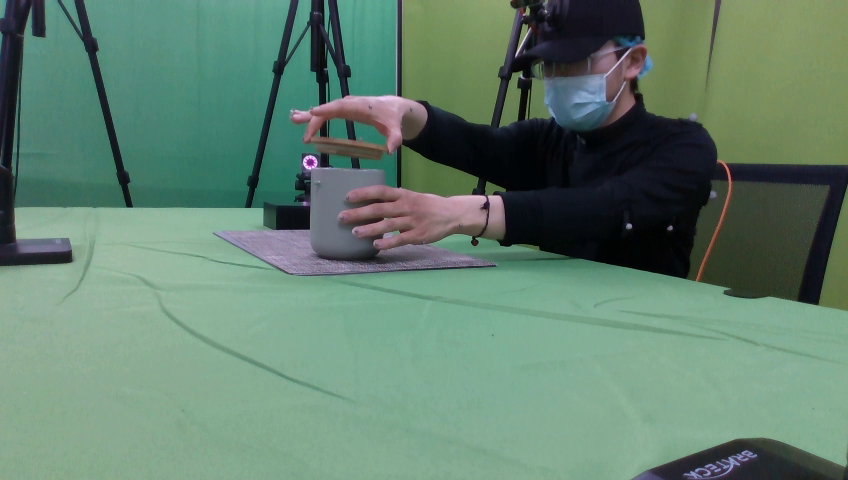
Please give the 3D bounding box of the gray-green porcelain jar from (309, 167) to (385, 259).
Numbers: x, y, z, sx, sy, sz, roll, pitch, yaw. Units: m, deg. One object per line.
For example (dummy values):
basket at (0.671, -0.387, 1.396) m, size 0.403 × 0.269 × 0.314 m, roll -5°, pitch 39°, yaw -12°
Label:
gray-green porcelain jar at (-0.109, -0.040, 0.859) m, size 0.106 × 0.126 × 0.106 m, roll 2°, pitch 7°, yaw 0°

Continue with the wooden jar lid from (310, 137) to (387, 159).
wooden jar lid at (-0.106, -0.128, 0.847) m, size 0.108 × 0.020 × 0.108 m, roll 6°, pitch 3°, yaw 0°
